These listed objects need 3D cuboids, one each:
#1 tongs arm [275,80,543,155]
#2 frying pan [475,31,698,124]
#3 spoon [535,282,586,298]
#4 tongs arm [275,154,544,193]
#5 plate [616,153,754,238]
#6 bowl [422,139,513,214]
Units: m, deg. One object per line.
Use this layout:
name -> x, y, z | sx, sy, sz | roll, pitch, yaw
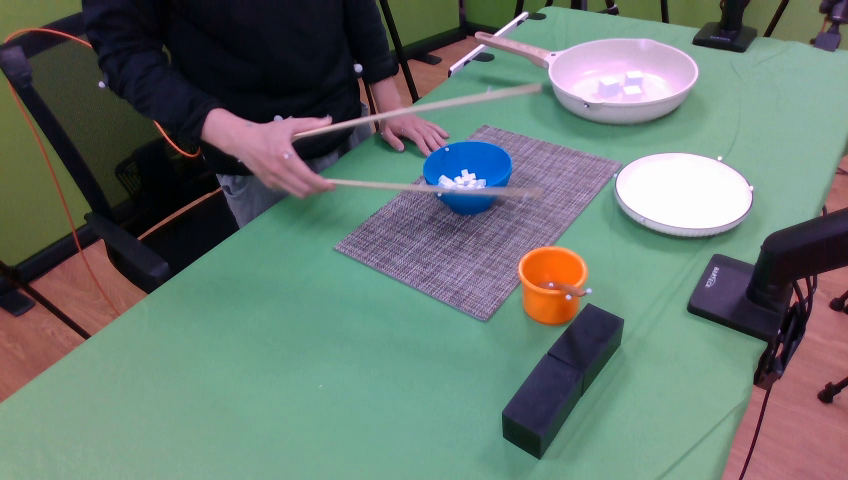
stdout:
tongs arm -> -0.031, -0.168, 0.825 | 0.386, 0.028, 0.028 | -9, 6, 17
frying pan -> 0.320, -0.371, 1.290 | 0.485, 0.103, 0.307 | 28, 50, 23
spoon -> 0.176, 0.063, 0.774 | 0.041, 0.194, 0.021 | -3, 85, 0
tongs arm -> -0.028, -0.093, 0.829 | 0.383, 0.051, 0.026 | 2, 6, 17
plate -> 0.416, -0.069, 0.977 | 0.207, 0.039, 0.206 | -4, 40, 4
bowl -> 0.075, -0.097, 1.021 | 0.151, 0.077, 0.150 | -4, 41, 4
